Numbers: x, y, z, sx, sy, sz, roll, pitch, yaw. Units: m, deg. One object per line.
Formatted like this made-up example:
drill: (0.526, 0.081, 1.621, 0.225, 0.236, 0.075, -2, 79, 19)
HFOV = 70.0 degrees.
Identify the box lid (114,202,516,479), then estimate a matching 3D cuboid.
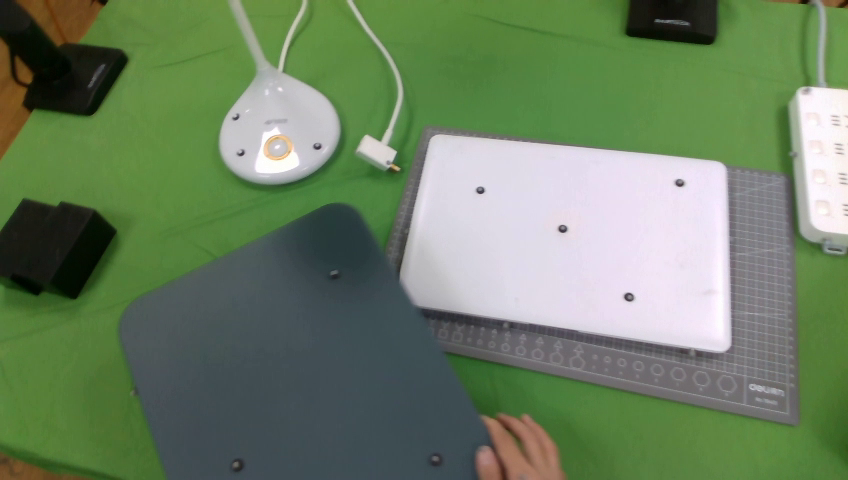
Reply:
box lid: (-0.111, 0.148, 0.553, 0.263, 0.015, 0.368, -28, 65, -11)

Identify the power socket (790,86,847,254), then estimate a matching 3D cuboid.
power socket: (0.472, -0.090, 0.703, 0.072, 0.033, 0.225, 9, 63, 9)

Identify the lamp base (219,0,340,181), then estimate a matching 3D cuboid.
lamp base: (-0.201, -0.193, 0.738, 0.161, 0.182, 0.177, -15, 58, -3)

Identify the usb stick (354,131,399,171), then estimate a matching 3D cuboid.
usb stick: (-0.055, -0.109, 0.758, 0.059, 0.021, 0.027, 32, 70, -16)

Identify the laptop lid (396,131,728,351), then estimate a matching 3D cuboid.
laptop lid: (0.157, -0.012, 0.686, 0.356, 0.013, 0.240, 9, 66, 10)

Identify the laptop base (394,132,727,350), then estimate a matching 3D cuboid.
laptop base: (0.159, -0.009, 0.697, 0.353, 0.023, 0.234, 8, 66, 9)
